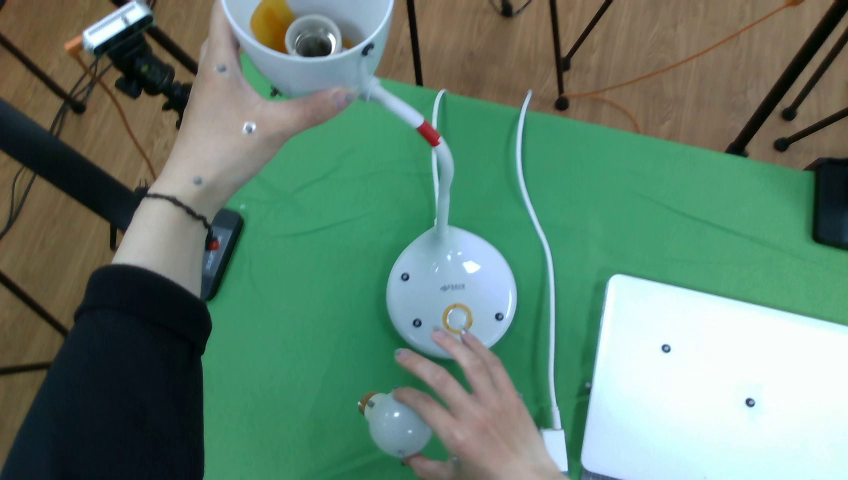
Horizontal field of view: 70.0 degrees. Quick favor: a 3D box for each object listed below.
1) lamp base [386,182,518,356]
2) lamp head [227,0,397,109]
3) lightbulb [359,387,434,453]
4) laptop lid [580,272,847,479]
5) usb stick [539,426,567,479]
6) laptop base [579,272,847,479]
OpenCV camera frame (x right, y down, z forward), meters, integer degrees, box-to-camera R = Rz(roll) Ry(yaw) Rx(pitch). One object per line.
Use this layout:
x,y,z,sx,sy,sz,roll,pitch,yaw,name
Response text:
0.028,0.025,0.670,0.161,0.181,0.178,-16,69,-5,lamp base
-0.073,-0.147,0.440,0.112,0.123,0.111,0,71,-1,lamp head
-0.033,0.168,0.592,0.060,0.107,0.059,-3,94,-32,lightbulb
0.369,0.182,0.689,0.356,0.013,0.240,14,73,5,laptop lid
0.145,0.240,0.679,0.027,0.021,0.059,0,80,0,usb stick
0.370,0.184,0.701,0.354,0.023,0.234,13,74,5,laptop base
